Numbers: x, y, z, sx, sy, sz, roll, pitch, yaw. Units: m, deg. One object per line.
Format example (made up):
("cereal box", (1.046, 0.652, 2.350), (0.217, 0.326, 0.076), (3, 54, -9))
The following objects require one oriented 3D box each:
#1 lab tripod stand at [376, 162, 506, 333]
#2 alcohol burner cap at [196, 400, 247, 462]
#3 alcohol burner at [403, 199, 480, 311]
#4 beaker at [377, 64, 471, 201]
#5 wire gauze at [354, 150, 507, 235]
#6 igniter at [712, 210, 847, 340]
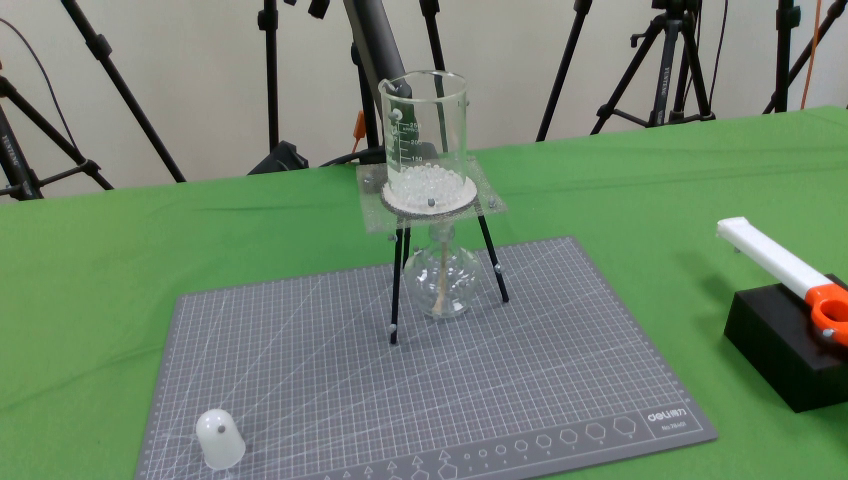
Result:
("lab tripod stand", (0.008, 0.001, 0.588), (0.148, 0.132, 0.147), (-1, 33, 1))
("alcohol burner cap", (-0.159, 0.145, 0.472), (0.034, 0.048, 0.033), (-2, 35, 2))
("alcohol burner", (0.017, 0.011, 0.591), (0.078, 0.120, 0.077), (-1, 36, 1))
("beaker", (-0.002, -0.092, 0.521), (0.074, 0.101, 0.083), (-30, 42, -35))
("wire gauze", (0.001, -0.051, 0.547), (0.121, 0.011, 0.123), (-8, 37, -7))
("igniter", (0.340, 0.045, 0.513), (0.057, 0.025, 0.273), (-10, 32, -8))
